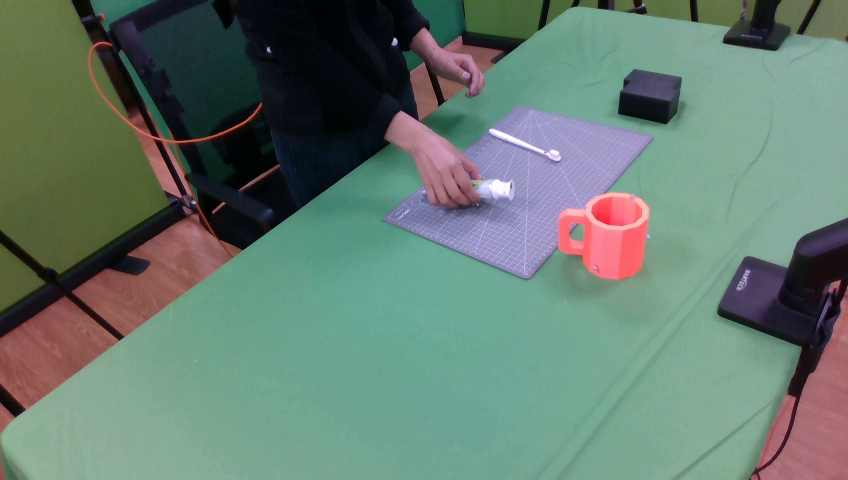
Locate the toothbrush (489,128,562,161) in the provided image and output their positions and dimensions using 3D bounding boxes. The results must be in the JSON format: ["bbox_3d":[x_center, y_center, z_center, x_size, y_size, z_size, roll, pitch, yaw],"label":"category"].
[{"bbox_3d":[0.191,-0.188,1.167,0.014,0.017,0.180,-45,48,-16],"label":"toothbrush"}]

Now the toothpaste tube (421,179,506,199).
[{"bbox_3d":[0.076,-0.092,1.052,0.164,0.034,0.055,7,24,32],"label":"toothpaste tube"}]

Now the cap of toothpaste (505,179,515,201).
[{"bbox_3d":[0.143,-0.084,1.007,0.011,0.037,0.037,6,43,20],"label":"cap of toothpaste"}]

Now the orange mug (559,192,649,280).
[{"bbox_3d":[0.261,-0.008,0.884,0.126,0.101,0.083,9,43,14],"label":"orange mug"}]
